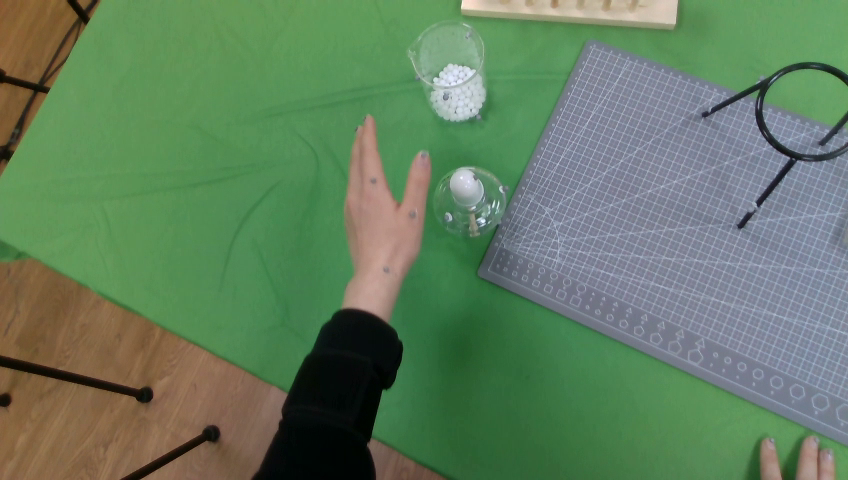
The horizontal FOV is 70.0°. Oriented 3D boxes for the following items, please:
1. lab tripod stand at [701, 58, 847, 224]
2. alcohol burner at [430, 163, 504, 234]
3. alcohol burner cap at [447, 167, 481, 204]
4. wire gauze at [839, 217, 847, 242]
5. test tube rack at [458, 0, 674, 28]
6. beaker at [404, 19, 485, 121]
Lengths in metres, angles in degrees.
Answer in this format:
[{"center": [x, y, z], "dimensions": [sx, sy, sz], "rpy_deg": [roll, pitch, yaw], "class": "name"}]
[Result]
[{"center": [0.339, -0.098, 0.578], "dimensions": [0.148, 0.132, 0.148], "rpy_deg": [-1, 81, 7], "class": "lab tripod stand"}, {"center": [0.043, -0.047, 0.624], "dimensions": [0.078, 0.120, 0.077], "rpy_deg": [-1, 77, 6], "class": "alcohol burner"}, {"center": [0.037, -0.055, 0.589], "dimensions": [0.034, 0.048, 0.034], "rpy_deg": [-1, 82, 9], "class": "alcohol burner cap"}, {"center": [0.497, -0.023, 0.607], "dimensions": [0.124, 0.011, 0.121], "rpy_deg": [29, 84, 9], "class": "wire gauze"}, {"center": [0.159, -0.294, 0.668], "dimensions": [0.242, 0.085, 0.066], "rpy_deg": [7, 80, 9], "class": "test tube rack"}, {"center": [0.027, -0.179, 0.658], "dimensions": [0.084, 0.101, 0.074], "rpy_deg": [11, 80, 11], "class": "beaker"}]
